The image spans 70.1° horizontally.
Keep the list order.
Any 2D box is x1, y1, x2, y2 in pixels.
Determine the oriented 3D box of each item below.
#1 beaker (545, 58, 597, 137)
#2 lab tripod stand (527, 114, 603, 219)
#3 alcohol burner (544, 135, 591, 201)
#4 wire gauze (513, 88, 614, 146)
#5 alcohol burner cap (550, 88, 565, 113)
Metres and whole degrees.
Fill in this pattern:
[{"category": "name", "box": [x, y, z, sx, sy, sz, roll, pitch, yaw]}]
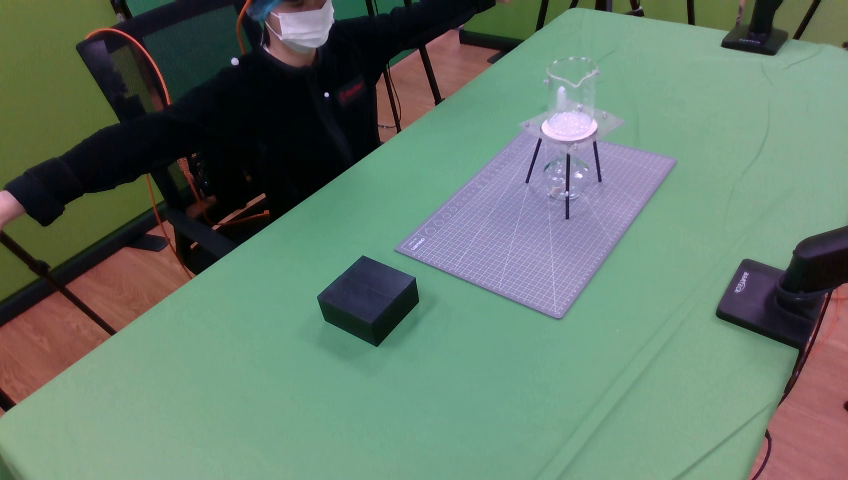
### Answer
[{"category": "beaker", "box": [0.225, -0.215, 0.927, 0.074, 0.101, 0.083, -6, 40, 5]}, {"category": "lab tripod stand", "box": [0.234, -0.129, 1.002, 0.148, 0.132, 0.147, -6, 40, 6]}, {"category": "alcohol burner", "box": [0.240, -0.125, 1.012, 0.078, 0.119, 0.077, -5, 42, 5]}, {"category": "wire gauze", "box": [0.220, -0.193, 0.952, 0.120, 0.011, 0.125, 22, 53, 27]}, {"category": "alcohol burner cap", "box": [0.281, -0.296, 1.271, 0.034, 0.048, 0.033, -5, 41, 5]}]
